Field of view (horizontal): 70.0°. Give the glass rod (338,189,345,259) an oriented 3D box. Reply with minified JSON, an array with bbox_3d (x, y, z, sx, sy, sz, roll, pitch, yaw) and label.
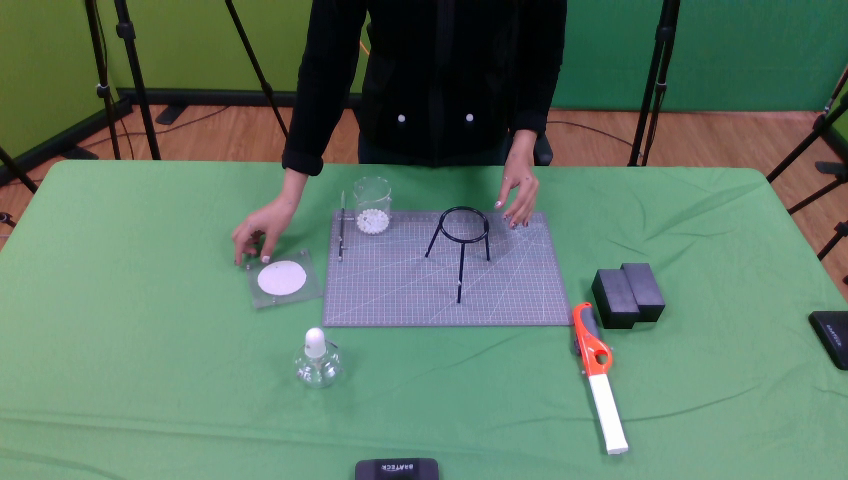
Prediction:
[{"bbox_3d":[-0.166,-0.037,1.226,0.008,0.008,0.198,-1,47,-4],"label":"glass rod"}]

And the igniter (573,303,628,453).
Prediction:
[{"bbox_3d":[0.288,0.217,1.006,0.057,0.025,0.274,-9,46,8],"label":"igniter"}]

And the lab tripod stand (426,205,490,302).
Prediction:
[{"bbox_3d":[0.069,0.017,1.105,0.148,0.132,0.147,3,47,-3],"label":"lab tripod stand"}]

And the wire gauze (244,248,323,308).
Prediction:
[{"bbox_3d":[-0.262,0.071,1.121,0.125,0.011,0.120,-11,48,-17],"label":"wire gauze"}]

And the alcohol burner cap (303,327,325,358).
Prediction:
[{"bbox_3d":[-0.169,0.154,0.925,0.034,0.048,0.033,4,42,-4],"label":"alcohol burner cap"}]

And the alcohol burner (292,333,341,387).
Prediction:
[{"bbox_3d":[-0.170,0.179,0.950,0.078,0.120,0.077,2,48,-2],"label":"alcohol burner"}]

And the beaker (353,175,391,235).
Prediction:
[{"bbox_3d":[-0.104,-0.065,1.196,0.074,0.101,0.084,24,50,18],"label":"beaker"}]
